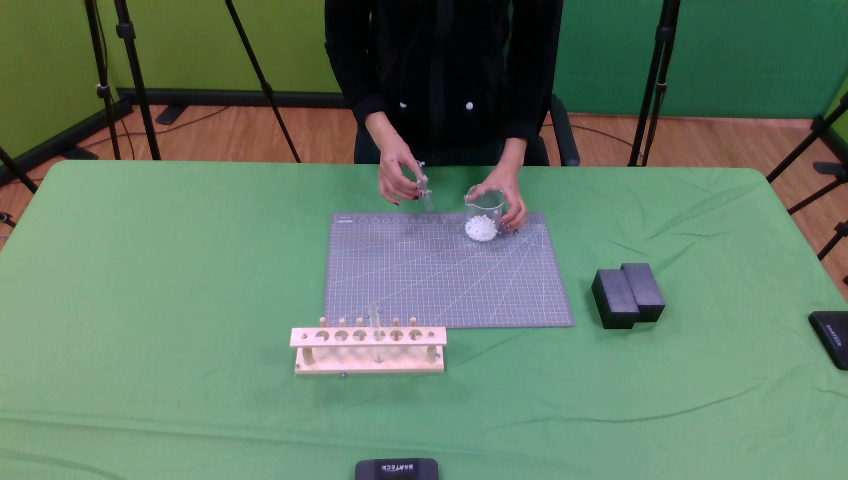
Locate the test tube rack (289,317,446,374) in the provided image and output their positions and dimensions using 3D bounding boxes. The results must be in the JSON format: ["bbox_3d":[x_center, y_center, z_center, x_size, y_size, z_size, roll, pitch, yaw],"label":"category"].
[{"bbox_3d":[-0.089,0.167,0.988,0.242,0.085,0.066,0,46,-4],"label":"test tube rack"}]

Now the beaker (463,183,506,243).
[{"bbox_3d":[0.114,-0.050,1.200,0.084,0.101,0.073,-16,49,-18],"label":"beaker"}]

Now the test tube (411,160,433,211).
[{"bbox_3d":[-0.003,-0.101,1.161,0.017,0.151,0.017,-6,57,9],"label":"test tube"}]

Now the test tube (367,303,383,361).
[{"bbox_3d":[-0.075,0.146,0.941,0.017,0.151,0.017,0,49,0],"label":"test tube"}]
